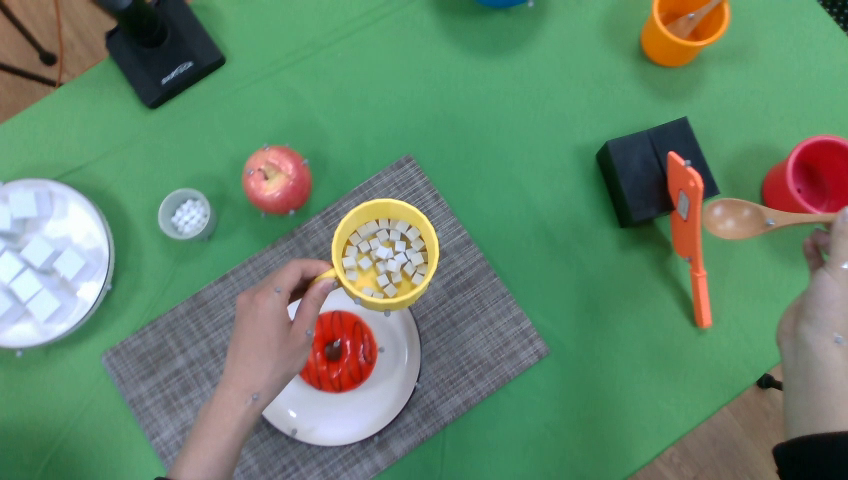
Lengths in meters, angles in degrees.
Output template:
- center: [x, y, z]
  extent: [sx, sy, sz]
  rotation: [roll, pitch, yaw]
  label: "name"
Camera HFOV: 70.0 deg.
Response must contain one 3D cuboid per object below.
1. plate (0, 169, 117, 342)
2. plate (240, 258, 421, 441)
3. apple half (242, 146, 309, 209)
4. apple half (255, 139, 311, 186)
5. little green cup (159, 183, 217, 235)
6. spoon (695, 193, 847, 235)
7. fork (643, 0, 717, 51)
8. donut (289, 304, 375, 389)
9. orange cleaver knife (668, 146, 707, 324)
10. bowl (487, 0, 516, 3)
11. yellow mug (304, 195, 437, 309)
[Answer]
- center: [-0.471, 0.019, 0.733]
  extent: [0.208, 0.039, 0.207]
  rotation: [0, 81, 1]
  label: "plate"
- center: [-0.107, 0.125, 0.708]
  extent: [0.209, 0.038, 0.208]
  rotation: [0, 82, 1]
  label: "plate"
- center: [-0.183, -0.066, 0.725]
  extent: [0.081, 0.075, 0.053]
  rotation: [36, 88, 2]
  label: "apple half"
- center: [-0.161, -0.098, 0.728]
  extent: [0.081, 0.081, 0.033]
  rotation: [35, 87, 6]
  label: "apple half"
- center: [-0.284, -0.035, 0.738]
  extent: [0.061, 0.039, 0.061]
  rotation: [0, 81, 1]
  label: "little green cup"
- center: [0.343, -0.022, 0.529]
  extent: [0.192, 0.022, 0.041]
  rotation: [2, 71, 30]
  label: "spoon"
- center: [0.355, -0.292, 0.712]
  extent: [0.207, 0.019, 0.028]
  rotation: [-33, 76, 40]
  label: "fork"
- center: [-0.105, 0.122, 0.697]
  extent: [0.099, 0.048, 0.099]
  rotation: [0, 83, 2]
  label: "donut"
- center: [0.303, -0.003, 0.701]
  extent: [0.012, 0.076, 0.213]
  rotation: [-15, 113, 0]
  label: "orange cleaver knife"
- center: [0.097, -0.358, 0.762]
  extent: [0.151, 0.077, 0.151]
  rotation: [0, 82, 1]
  label: "bowl"
- center: [-0.054, 0.019, 0.582]
  extent: [0.131, 0.064, 0.099]
  rotation: [-25, 81, -10]
  label: "yellow mug"
